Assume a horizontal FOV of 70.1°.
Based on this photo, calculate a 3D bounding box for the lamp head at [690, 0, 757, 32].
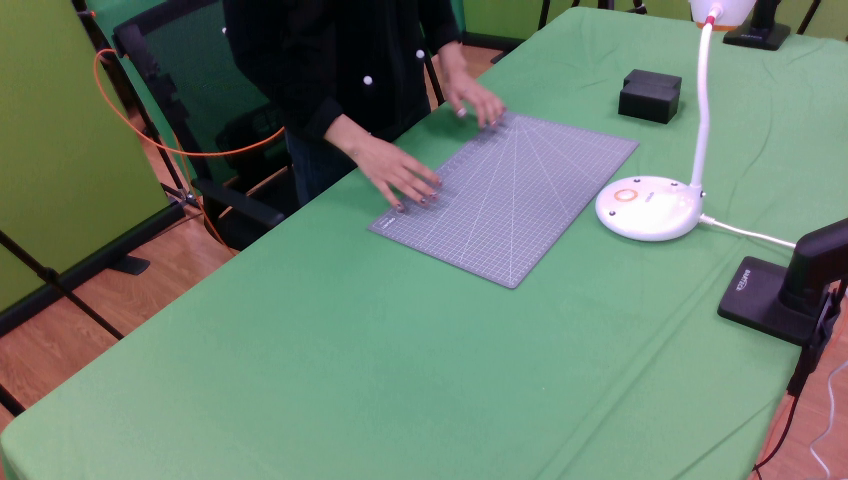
[{"bbox_3d":[0.433,-0.363,0.870,0.112,0.123,0.112,1,28,0],"label":"lamp head"}]

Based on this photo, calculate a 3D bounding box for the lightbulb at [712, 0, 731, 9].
[{"bbox_3d":[0.431,-0.387,0.863,0.059,0.108,0.059,-5,31,4],"label":"lightbulb"}]

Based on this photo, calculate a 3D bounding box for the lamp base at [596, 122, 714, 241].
[{"bbox_3d":[0.362,-0.110,0.921,0.178,0.181,0.160,13,45,21],"label":"lamp base"}]
